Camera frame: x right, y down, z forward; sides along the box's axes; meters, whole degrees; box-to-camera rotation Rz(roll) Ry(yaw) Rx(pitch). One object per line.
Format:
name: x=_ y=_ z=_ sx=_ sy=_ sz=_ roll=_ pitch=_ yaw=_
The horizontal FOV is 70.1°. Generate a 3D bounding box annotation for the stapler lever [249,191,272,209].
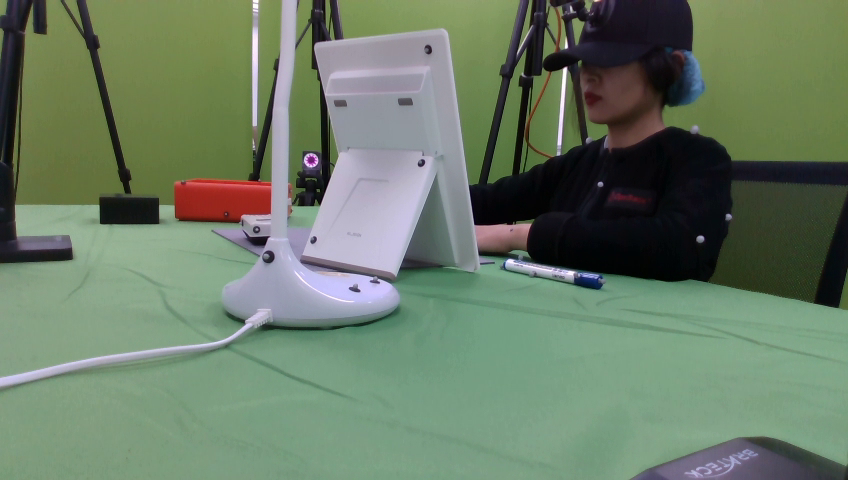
stapler lever: x=-0.352 y=-0.086 z=1.306 sx=0.027 sy=0.040 sz=0.118 roll=-1 pitch=5 yaw=-3

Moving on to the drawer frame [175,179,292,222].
drawer frame: x=-0.402 y=-0.087 z=1.311 sx=0.214 sy=0.082 sz=0.201 roll=1 pitch=8 yaw=-9

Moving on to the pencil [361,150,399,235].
pencil: x=-0.076 y=-0.084 z=1.039 sx=0.012 sy=0.194 sz=0.012 roll=13 pitch=-34 yaw=10

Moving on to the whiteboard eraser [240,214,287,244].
whiteboard eraser: x=-0.256 y=-0.018 z=0.958 sx=0.056 sy=0.042 sz=0.112 roll=0 pitch=8 yaw=-25

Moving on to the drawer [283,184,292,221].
drawer: x=-0.397 y=-0.086 z=1.314 sx=0.212 sy=0.073 sz=0.194 roll=1 pitch=8 yaw=-9

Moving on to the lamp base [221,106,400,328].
lamp base: x=-0.101 y=-0.023 z=0.531 sx=0.160 sy=0.180 sz=0.179 roll=4 pitch=10 yaw=10

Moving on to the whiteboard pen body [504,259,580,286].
whiteboard pen body: x=0.157 y=0.042 z=0.764 sx=0.017 sy=0.017 sz=0.140 roll=-4 pitch=11 yaw=-41

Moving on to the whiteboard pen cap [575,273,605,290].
whiteboard pen cap: x=0.197 y=0.048 z=0.719 sx=0.018 sy=0.018 sz=0.033 roll=-4 pitch=11 yaw=-41

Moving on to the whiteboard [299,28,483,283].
whiteboard: x=-0.075 y=-0.082 z=0.741 sx=0.216 sy=0.305 sz=0.144 roll=9 pitch=30 yaw=38

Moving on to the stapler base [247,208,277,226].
stapler base: x=-0.350 y=-0.054 z=1.310 sx=0.041 sy=0.024 sz=0.130 roll=-1 pitch=13 yaw=-3
